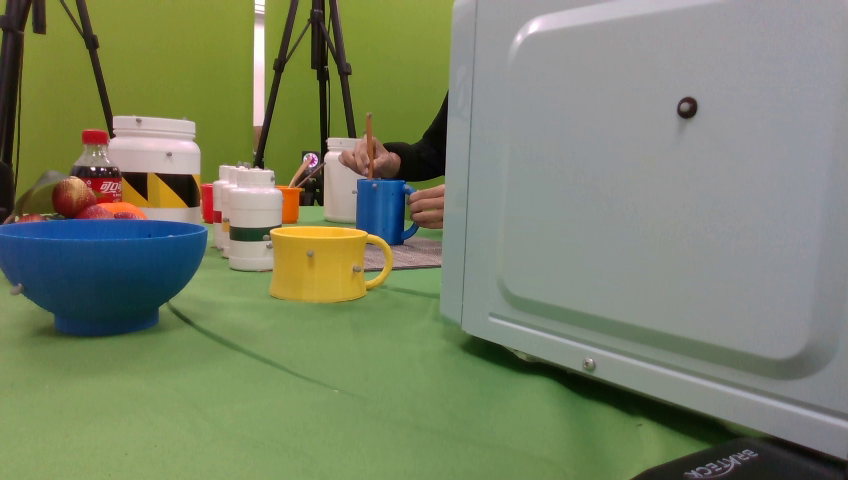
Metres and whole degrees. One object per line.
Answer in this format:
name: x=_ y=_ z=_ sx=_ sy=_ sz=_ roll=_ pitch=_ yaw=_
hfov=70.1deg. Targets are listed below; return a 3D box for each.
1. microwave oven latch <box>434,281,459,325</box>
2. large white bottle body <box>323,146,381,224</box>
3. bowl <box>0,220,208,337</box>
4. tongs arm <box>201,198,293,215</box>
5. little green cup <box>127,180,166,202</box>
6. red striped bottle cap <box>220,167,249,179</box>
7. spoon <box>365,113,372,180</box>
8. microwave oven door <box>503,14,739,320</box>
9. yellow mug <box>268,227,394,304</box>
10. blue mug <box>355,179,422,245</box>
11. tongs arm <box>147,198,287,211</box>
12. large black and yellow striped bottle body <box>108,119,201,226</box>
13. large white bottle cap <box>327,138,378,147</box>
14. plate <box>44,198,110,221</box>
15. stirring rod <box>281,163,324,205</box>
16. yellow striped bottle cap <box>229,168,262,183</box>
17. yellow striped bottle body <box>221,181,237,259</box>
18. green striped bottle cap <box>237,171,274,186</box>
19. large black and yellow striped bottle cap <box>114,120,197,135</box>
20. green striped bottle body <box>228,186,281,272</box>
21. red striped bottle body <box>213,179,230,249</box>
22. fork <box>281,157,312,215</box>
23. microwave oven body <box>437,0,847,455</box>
microwave oven latch: x=0.044 y=0.045 z=0.470 sx=0.079 sy=0.029 sz=0.030 roll=-2 pitch=8 yaw=-39
large white bottle body: x=-0.163 y=-0.134 z=1.369 sx=0.131 sy=0.184 sz=0.130 roll=2 pitch=8 yaw=0
bowl: x=-0.251 y=0.029 z=0.479 sx=0.151 sy=0.077 sz=0.151 roll=2 pitch=7 yaw=0
tongs arm: x=-0.423 y=-0.084 z=1.472 sx=0.050 sy=0.026 sz=0.386 roll=2 pitch=6 yaw=21
little green cup: x=-0.485 y=-0.087 z=1.062 sx=0.061 sy=0.038 sz=0.061 roll=0 pitch=7 yaw=0
red striped bottle cap: x=-0.281 y=-0.100 z=0.901 sx=0.044 sy=0.017 sz=0.044 roll=-1 pitch=5 yaw=0
spoon: x=-0.095 y=-0.113 z=1.009 sx=0.022 sy=0.193 sz=0.041 roll=4 pitch=4 yaw=-15
microwave oven door: x=0.217 y=-0.065 z=0.600 sx=0.358 sy=0.243 sz=0.039 roll=-4 pitch=10 yaw=-41
yellow mug: x=-0.094 y=0.023 z=0.630 sx=0.131 sy=0.064 sz=0.099 roll=0 pitch=8 yaw=-22
blue mug: x=-0.058 y=-0.047 z=1.007 sx=0.116 sy=0.106 sz=0.082 roll=5 pitch=8 yaw=19
tongs arm: x=-0.504 y=-0.091 z=1.513 sx=0.028 sy=0.028 sz=0.389 roll=0 pitch=4 yaw=37
large black and yellow striped bottle body: x=-0.412 y=-0.088 z=0.930 sx=0.131 sy=0.184 sz=0.130 roll=3 pitch=7 yaw=0
large white bottle cap: x=-0.160 y=-0.218 z=1.357 sx=0.115 sy=0.018 sz=0.115 roll=2 pitch=8 yaw=0
plate: x=-0.617 y=-0.056 z=1.179 sx=0.209 sy=0.038 sz=0.209 roll=3 pitch=7 yaw=0
stirring rod: x=-0.278 y=-0.105 z=1.293 sx=0.176 sy=0.006 sz=0.014 roll=-47 pitch=25 yaw=-18
yellow striped bottle cap: x=-0.240 y=-0.087 z=0.816 sx=0.044 sy=0.018 sz=0.044 roll=-3 pitch=5 yaw=1
yellow striped bottle body: x=-0.244 y=-0.035 z=0.823 sx=0.063 sy=0.120 sz=0.063 roll=2 pitch=8 yaw=0
green striped bottle cap: x=-0.206 y=-0.075 z=0.738 sx=0.044 sy=0.020 sz=0.044 roll=1 pitch=8 yaw=0
large black and yellow striped bottle cap: x=-0.407 y=-0.171 z=0.920 sx=0.115 sy=0.019 sz=0.115 roll=2 pitch=9 yaw=0
green striped bottle body: x=-0.208 y=-0.023 z=0.745 sx=0.063 sy=0.119 sz=0.063 roll=2 pitch=7 yaw=0
red striped bottle body: x=-0.284 y=-0.048 z=0.909 sx=0.063 sy=0.119 sz=0.063 roll=3 pitch=10 yaw=0
fork: x=-0.289 y=-0.116 z=1.321 sx=0.028 sy=0.019 sz=0.207 roll=6 pitch=51 yaw=19
microwave oven body: x=0.279 y=-0.040 z=0.464 sx=0.444 sy=0.260 sz=0.324 roll=-3 pitch=9 yaw=-41
